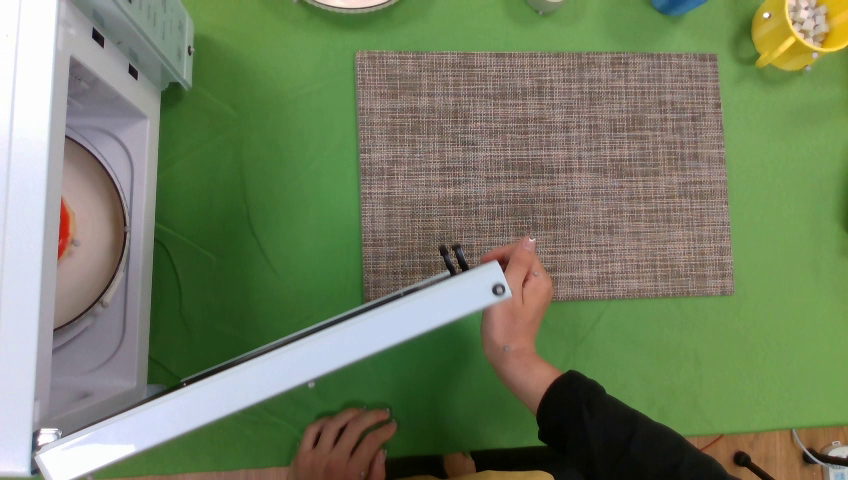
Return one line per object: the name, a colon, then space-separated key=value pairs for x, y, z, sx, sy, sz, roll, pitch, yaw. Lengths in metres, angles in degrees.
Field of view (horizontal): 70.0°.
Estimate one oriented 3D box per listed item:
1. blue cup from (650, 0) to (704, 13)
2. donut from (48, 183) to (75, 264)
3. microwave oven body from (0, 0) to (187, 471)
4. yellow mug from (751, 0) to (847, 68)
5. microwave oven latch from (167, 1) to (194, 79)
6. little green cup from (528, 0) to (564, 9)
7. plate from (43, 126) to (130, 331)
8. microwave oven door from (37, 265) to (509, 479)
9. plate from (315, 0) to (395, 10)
blue cup: x=0.313 y=-0.317 z=0.712 sx=0.093 sy=0.100 sz=0.092 roll=0 pitch=87 yaw=-6
donut: x=-0.387 y=-0.017 z=0.577 sx=0.099 sy=0.048 sz=0.099 roll=0 pitch=87 yaw=-5
microwave oven body: x=-0.409 y=-0.053 z=0.535 sx=0.326 sy=0.260 sz=0.441 roll=1 pitch=87 yaw=-6
yellow mug: x=0.457 y=-0.261 z=0.741 sx=0.131 sy=0.064 sz=0.100 roll=-43 pitch=91 yaw=-6
microwave oven latch: x=-0.268 y=-0.218 z=0.657 sx=0.030 sy=0.029 sz=0.079 roll=4 pitch=87 yaw=-6
little green cup: x=0.150 y=-0.309 z=0.726 sx=0.061 sy=0.038 sz=0.061 roll=0 pitch=85 yaw=-6
plate: x=-0.392 y=-0.012 z=0.587 sx=0.209 sy=0.038 sz=0.208 roll=1 pitch=86 yaw=-7
microwave oven door: x=-0.112 y=0.100 z=0.552 sx=0.356 sy=0.244 sz=0.039 roll=-22 pitch=87 yaw=-7
plate: x=-0.084 y=-0.365 z=0.705 sx=0.208 sy=0.039 sz=0.207 roll=0 pitch=86 yaw=-6
